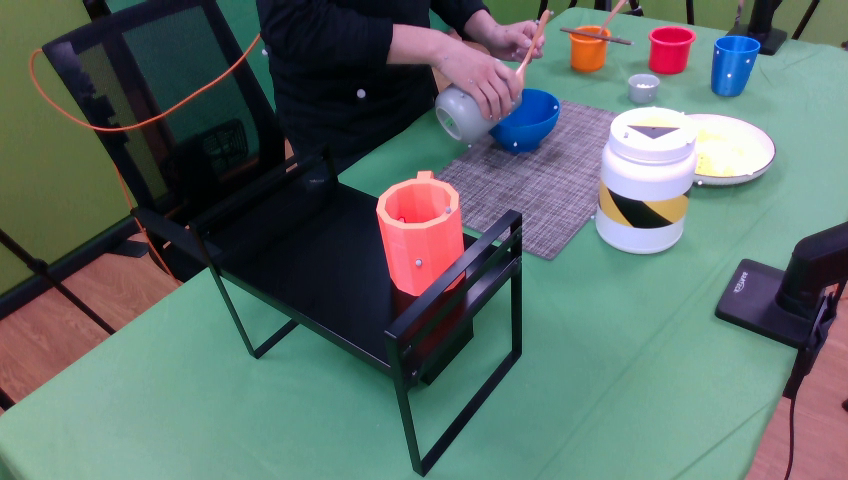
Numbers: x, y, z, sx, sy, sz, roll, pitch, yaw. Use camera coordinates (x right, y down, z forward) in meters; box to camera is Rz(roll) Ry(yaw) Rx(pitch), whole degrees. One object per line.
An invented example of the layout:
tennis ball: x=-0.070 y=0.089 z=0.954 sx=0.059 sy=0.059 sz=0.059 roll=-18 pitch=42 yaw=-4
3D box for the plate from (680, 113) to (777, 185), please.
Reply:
plate: x=0.506 y=-0.158 z=1.073 sx=0.209 sy=0.038 sz=0.208 roll=-5 pitch=40 yaw=4

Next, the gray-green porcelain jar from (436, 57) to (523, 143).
gray-green porcelain jar: x=0.092 y=-0.242 z=1.063 sx=0.126 sy=0.106 sz=0.105 roll=-39 pitch=47 yaw=-10

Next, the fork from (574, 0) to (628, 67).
fork: x=0.413 y=-0.481 z=1.377 sx=0.207 sy=0.019 sz=0.028 roll=-56 pitch=43 yaw=12

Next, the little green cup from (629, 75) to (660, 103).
little green cup: x=0.457 y=-0.314 z=1.260 sx=0.061 sy=0.039 sz=0.061 roll=-4 pitch=40 yaw=4

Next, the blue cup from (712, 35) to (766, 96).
blue cup: x=0.627 y=-0.350 z=1.227 sx=0.092 sy=0.100 sz=0.092 roll=-4 pitch=39 yaw=4

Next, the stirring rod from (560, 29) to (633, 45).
stirring rod: x=0.381 y=-0.452 z=1.345 sx=0.174 sy=0.006 sz=0.014 roll=25 pitch=49 yaw=33

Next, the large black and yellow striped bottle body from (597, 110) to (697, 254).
large black and yellow striped bottle body: x=0.331 y=-0.086 z=0.904 sx=0.131 sy=0.185 sz=0.130 roll=-5 pitch=41 yaw=4

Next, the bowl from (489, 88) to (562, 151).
bowl: x=0.187 y=-0.223 z=1.161 sx=0.151 sy=0.077 sz=0.150 roll=-5 pitch=40 yaw=4

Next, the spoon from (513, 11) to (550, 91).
spoon: x=0.191 y=-0.340 z=1.113 sx=0.041 sy=0.022 sz=0.193 roll=19 pitch=76 yaw=30

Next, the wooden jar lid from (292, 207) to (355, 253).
wooden jar lid: x=-0.169 y=-0.015 z=1.026 sx=0.108 sy=0.021 sz=0.108 roll=-4 pitch=40 yaw=4

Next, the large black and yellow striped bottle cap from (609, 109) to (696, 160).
large black and yellow striped bottle cap: x=0.319 y=-0.150 z=0.849 sx=0.115 sy=0.019 sz=0.114 roll=-4 pitch=39 yaw=3

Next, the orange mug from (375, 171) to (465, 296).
orange mug: x=0.000 y=-0.016 z=0.661 sx=0.083 sy=0.101 sz=0.125 roll=-2 pitch=45 yaw=8
